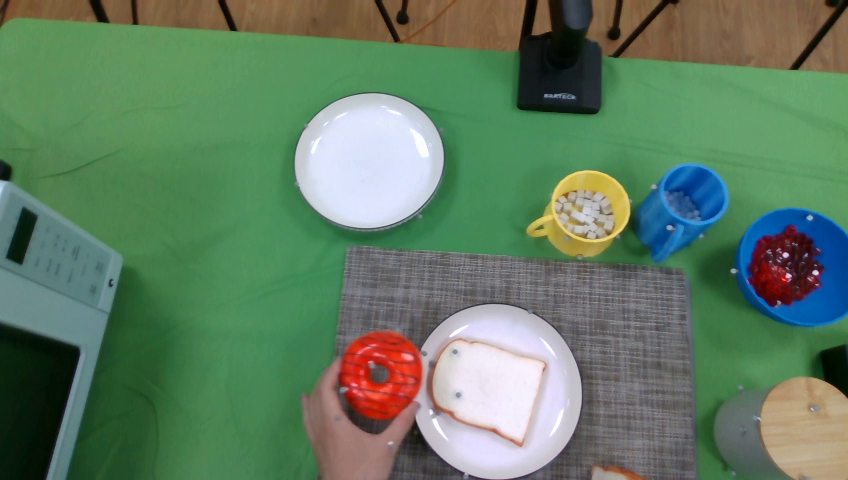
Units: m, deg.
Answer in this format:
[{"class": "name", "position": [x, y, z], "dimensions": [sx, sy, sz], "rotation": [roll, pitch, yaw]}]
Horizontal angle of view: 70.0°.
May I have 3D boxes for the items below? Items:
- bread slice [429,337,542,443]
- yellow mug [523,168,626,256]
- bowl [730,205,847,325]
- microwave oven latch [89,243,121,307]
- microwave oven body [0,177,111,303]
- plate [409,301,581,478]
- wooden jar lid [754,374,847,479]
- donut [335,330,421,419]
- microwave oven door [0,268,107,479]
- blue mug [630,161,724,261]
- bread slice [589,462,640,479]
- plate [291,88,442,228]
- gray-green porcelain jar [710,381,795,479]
[{"class": "bread slice", "position": [0.071, 0.178, 0.743], "dimensions": [0.131, 0.019, 0.104], "rotation": [18, 72, 2]}, {"class": "yellow mug", "position": [0.193, -0.031, 0.796], "dimensions": [0.131, 0.064, 0.099], "rotation": [-17, 72, -3]}, {"class": "bowl", "position": [0.451, 0.040, 0.763], "dimensions": [0.151, 0.077, 0.150], "rotation": [0, 72, 1]}, {"class": "microwave oven latch", "position": [-0.412, 0.043, 0.771], "dimensions": [0.030, 0.029, 0.078], "rotation": [8, 73, 3]}, {"class": "microwave oven body", "position": [-0.579, 0.165, 0.631], "dimensions": [0.326, 0.261, 0.439], "rotation": [5, 72, 2]}, {"class": "plate", "position": [0.084, 0.179, 0.738], "dimensions": [0.209, 0.038, 0.207], "rotation": [0, 71, 1]}, {"class": "wooden jar lid", "position": [0.391, 0.193, 0.622], "dimensions": [0.108, 0.021, 0.107], "rotation": [0, 73, -1]}, {"class": "donut", "position": [-0.051, 0.150, 0.685], "dimensions": [0.099, 0.048, 0.098], "rotation": [-1, 75, 4]}, {"class": "microwave oven door", "position": [-0.438, 0.217, 0.608], "dimensions": [0.039, 0.245, 0.353], "rotation": [5, 71, 3]}, {"class": "blue mug", "position": [0.314, -0.027, 0.773], "dimensions": [0.082, 0.106, 0.116], "rotation": [24, 74, 9]}, {"class": "bread slice", "position": [0.204, 0.297, 0.652], "dimensions": [0.018, 0.135, 0.106], "rotation": [13, 70, -3]}, {"class": "plate", "position": [-0.078, -0.111, 0.840], "dimensions": [0.208, 0.039, 0.206], "rotation": [0, 72, 1]}, {"class": "gray-green porcelain jar", "position": [0.392, 0.214, 0.681], "dimensions": [0.106, 0.127, 0.105], "rotation": [0, 71, 1]}]
